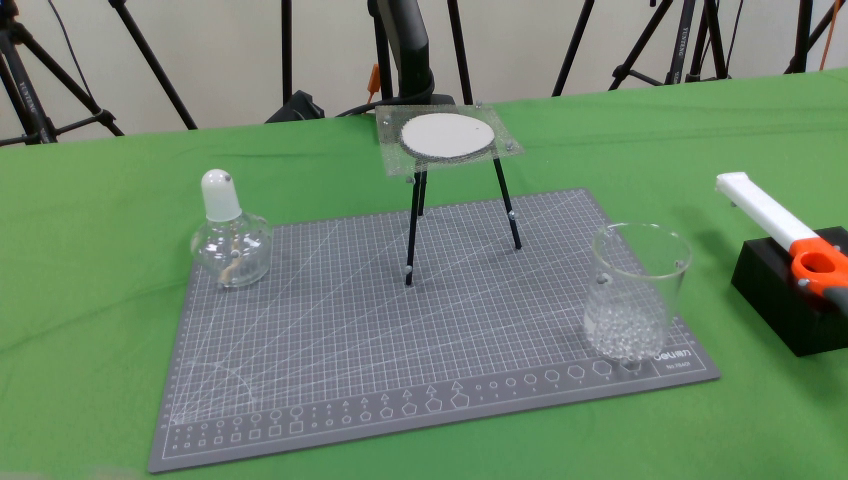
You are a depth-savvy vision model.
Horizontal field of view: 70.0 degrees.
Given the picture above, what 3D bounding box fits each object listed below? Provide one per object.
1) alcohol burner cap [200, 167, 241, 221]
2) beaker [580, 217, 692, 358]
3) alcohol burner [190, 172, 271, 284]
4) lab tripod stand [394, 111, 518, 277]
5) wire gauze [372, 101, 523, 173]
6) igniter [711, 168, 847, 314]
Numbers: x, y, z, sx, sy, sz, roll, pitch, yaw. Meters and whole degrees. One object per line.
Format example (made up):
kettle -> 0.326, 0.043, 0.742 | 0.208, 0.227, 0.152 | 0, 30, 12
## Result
alcohol burner cap -> -0.191, -0.045, 0.564 | 0.034, 0.048, 0.033 | 0, 31, 0
beaker -> 0.168, 0.041, 0.502 | 0.074, 0.101, 0.083 | -18, 39, -20
alcohol burner -> -0.190, -0.016, 0.585 | 0.078, 0.120, 0.077 | 0, 39, 1
lab tripod stand -> 0.024, -0.050, 0.601 | 0.148, 0.132, 0.147 | -1, 36, 1
wire gauze -> 0.017, -0.101, 0.556 | 0.121, 0.011, 0.123 | -6, 38, -7
igniter -> 0.332, 0.008, 0.523 | 0.057, 0.025, 0.273 | -7, 34, -4
